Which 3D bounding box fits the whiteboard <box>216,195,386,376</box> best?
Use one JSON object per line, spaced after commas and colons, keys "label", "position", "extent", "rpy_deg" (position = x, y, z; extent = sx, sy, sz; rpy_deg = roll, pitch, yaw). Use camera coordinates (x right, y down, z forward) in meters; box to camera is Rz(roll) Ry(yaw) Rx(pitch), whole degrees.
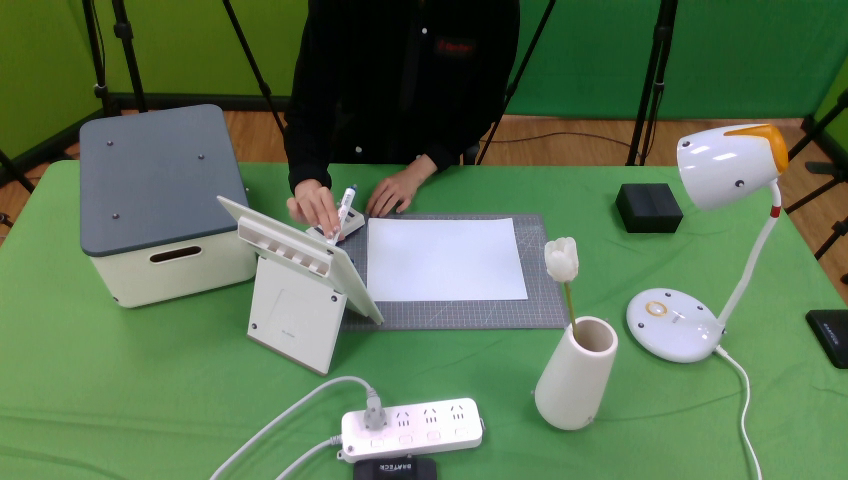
{"label": "whiteboard", "position": [-0.212, 0.093, 0.939], "extent": [0.216, 0.307, 0.143], "rpy_deg": [24, 70, 17]}

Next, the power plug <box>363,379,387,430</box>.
{"label": "power plug", "position": [-0.071, 0.252, 0.911], "extent": [0.035, 0.053, 0.072], "rpy_deg": [3, 40, 0]}

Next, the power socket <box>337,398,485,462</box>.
{"label": "power socket", "position": [-0.018, 0.285, 0.914], "extent": [0.227, 0.033, 0.071], "rpy_deg": [-4, 46, -8]}

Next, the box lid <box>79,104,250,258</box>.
{"label": "box lid", "position": [-0.467, -0.120, 1.075], "extent": [0.264, 0.015, 0.369], "rpy_deg": [-13, 49, -18]}

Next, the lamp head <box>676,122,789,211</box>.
{"label": "lamp head", "position": [0.423, -0.104, 0.819], "extent": [0.122, 0.113, 0.112], "rpy_deg": [-13, 33, 40]}

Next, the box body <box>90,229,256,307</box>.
{"label": "box body", "position": [-0.471, -0.070, 1.131], "extent": [0.254, 0.161, 0.361], "rpy_deg": [-14, 49, -17]}

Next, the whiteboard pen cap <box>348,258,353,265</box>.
{"label": "whiteboard pen cap", "position": [-0.152, 0.041, 1.146], "extent": [0.033, 0.018, 0.018], "rpy_deg": [12, 47, 11]}

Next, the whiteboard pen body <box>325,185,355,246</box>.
{"label": "whiteboard pen body", "position": [-0.135, -0.026, 0.941], "extent": [0.017, 0.017, 0.140], "rpy_deg": [13, 61, 7]}

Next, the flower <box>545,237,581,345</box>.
{"label": "flower", "position": [0.213, 0.137, 0.846], "extent": [0.038, 0.364, 0.044], "rpy_deg": [22, 55, 40]}

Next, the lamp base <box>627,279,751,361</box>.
{"label": "lamp base", "position": [0.460, 0.100, 1.027], "extent": [0.178, 0.181, 0.160], "rpy_deg": [27, 51, 17]}

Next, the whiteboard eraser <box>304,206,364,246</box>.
{"label": "whiteboard eraser", "position": [-0.175, -0.022, 1.188], "extent": [0.055, 0.042, 0.112], "rpy_deg": [36, 53, 26]}

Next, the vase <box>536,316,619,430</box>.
{"label": "vase", "position": [0.229, 0.200, 0.901], "extent": [0.098, 0.201, 0.097], "rpy_deg": [3, 46, -3]}
